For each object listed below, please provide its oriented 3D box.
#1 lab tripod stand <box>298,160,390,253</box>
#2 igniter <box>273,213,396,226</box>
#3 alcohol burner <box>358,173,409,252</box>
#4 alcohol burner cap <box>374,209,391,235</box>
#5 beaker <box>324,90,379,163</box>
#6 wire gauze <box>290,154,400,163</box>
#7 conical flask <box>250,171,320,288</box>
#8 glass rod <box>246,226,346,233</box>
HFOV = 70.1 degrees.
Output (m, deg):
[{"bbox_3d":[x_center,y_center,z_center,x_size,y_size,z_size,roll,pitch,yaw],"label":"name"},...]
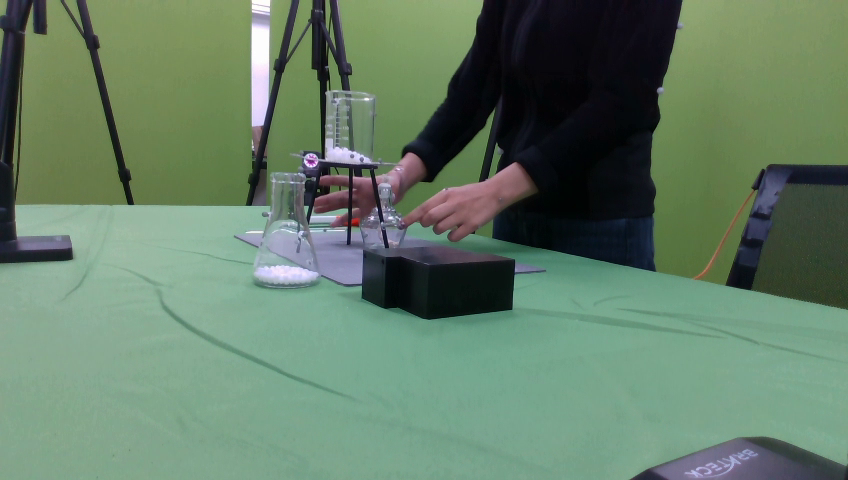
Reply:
[{"bbox_3d":[-0.111,-0.050,0.893,0.148,0.131,0.148,4,7,0],"label":"lab tripod stand"},{"bbox_3d":[-0.179,-0.044,1.258,0.278,0.025,0.057,-3,-1,-39],"label":"igniter"},{"bbox_3d":[-0.062,-0.042,0.925,0.078,0.119,0.078,1,7,0],"label":"alcohol burner"},{"bbox_3d":[-0.078,-0.035,1.148,0.034,0.048,0.034,3,8,0],"label":"alcohol burner cap"},{"bbox_3d":[-0.110,-0.162,0.879,0.083,0.100,0.074,8,7,36],"label":"beaker"},{"bbox_3d":[-0.112,-0.114,0.884,0.124,0.011,0.122,5,5,28],"label":"wire gauze"},{"bbox_3d":[-0.150,-0.013,0.658,0.075,0.122,0.075,2,7,0],"label":"conical flask"},{"bbox_3d":[-0.236,-0.021,1.141,0.201,0.008,0.008,-3,8,-33],"label":"glass rod"}]
